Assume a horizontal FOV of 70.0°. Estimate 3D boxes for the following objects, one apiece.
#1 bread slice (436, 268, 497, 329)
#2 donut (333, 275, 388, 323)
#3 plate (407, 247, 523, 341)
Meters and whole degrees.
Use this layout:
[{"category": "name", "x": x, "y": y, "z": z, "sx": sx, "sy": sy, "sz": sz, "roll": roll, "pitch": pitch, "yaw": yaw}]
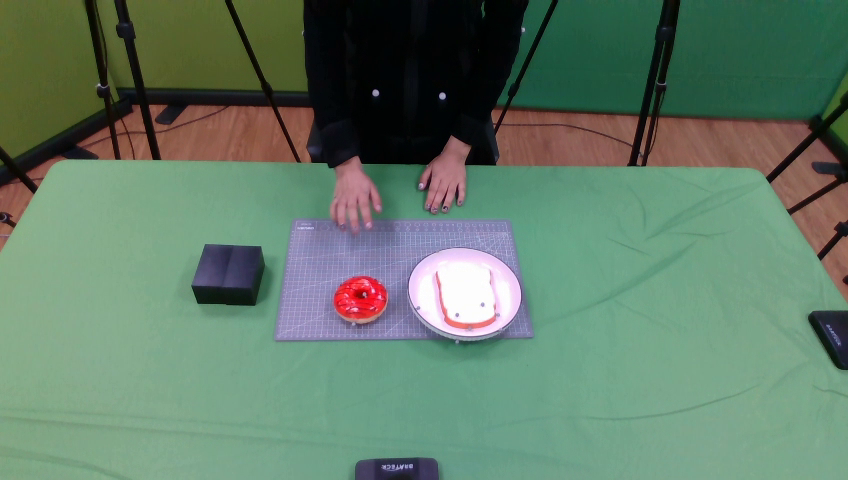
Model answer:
[{"category": "bread slice", "x": 0.081, "y": 0.103, "z": 1.091, "sx": 0.105, "sy": 0.019, "sz": 0.130, "roll": -3, "pitch": 46, "yaw": -5}, {"category": "donut", "x": -0.112, "y": 0.103, "z": 1.072, "sx": 0.099, "sy": 0.048, "sz": 0.098, "roll": 0, "pitch": 46, "yaw": 0}, {"category": "plate", "x": 0.073, "y": 0.098, "z": 1.093, "sx": 0.209, "sy": 0.038, "sz": 0.208, "roll": 2, "pitch": 46, "yaw": -2}]
